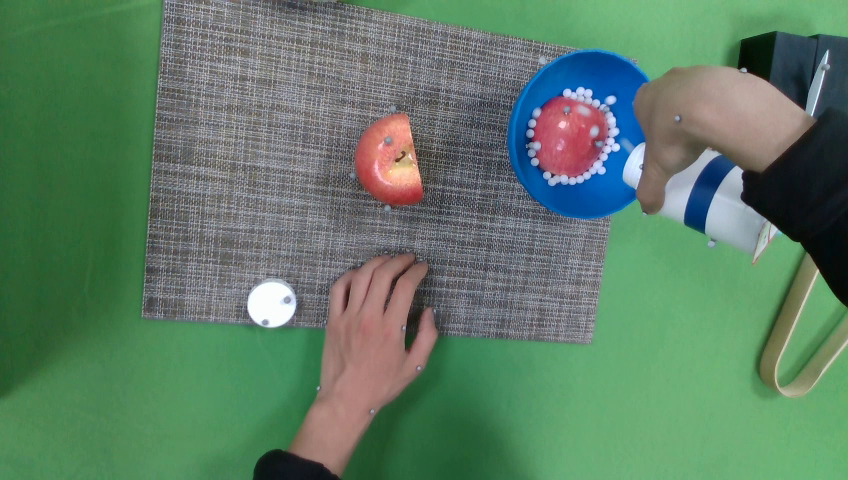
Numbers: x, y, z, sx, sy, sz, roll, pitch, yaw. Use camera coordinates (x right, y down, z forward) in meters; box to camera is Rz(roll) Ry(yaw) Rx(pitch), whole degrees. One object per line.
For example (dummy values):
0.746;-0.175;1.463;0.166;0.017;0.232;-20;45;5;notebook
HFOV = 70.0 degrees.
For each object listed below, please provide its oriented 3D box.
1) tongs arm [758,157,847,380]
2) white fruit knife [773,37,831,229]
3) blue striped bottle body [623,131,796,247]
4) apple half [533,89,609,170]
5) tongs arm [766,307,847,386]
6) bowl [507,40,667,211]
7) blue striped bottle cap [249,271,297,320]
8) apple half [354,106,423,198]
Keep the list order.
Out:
0.472;-0.021;0.698;0.028;0.027;0.387;22;94;-17;tongs arm
0.392;-0.104;0.634;0.016;0.027;0.209;3;116;4;white fruit knife
0.223;-0.047;0.488;0.063;0.119;0.063;-31;138;-33;blue striped bottle body
0.143;-0.103;0.570;0.081;0.032;0.081;-1;95;-14;apple half
0.541;0.021;0.716;0.051;0.026;0.384;36;91;-14;tongs arm
0.141;-0.105;0.575;0.152;0.076;0.151;-2;99;-12;bowl
-0.142;0.052;0.566;0.045;0.020;0.044;-2;98;-14;blue striped bottle cap
-0.035;-0.075;0.541;0.053;0.074;0.081;-13;105;-7;apple half
